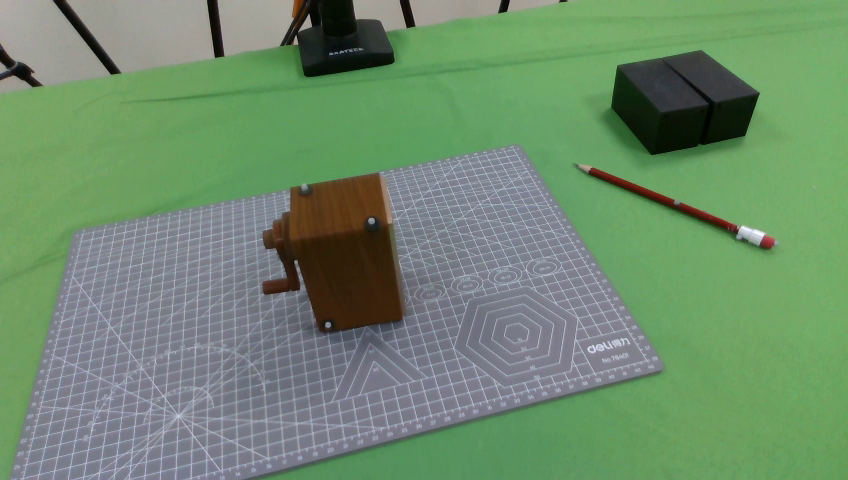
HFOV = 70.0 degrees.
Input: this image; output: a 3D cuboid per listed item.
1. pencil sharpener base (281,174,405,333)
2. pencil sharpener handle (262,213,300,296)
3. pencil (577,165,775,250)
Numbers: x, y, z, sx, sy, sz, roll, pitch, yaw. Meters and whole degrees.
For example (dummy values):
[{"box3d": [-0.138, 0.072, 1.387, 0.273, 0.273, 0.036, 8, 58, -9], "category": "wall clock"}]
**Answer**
[{"box3d": [-0.059, 0.013, 0.458, 0.077, 0.108, 0.060, -9, 44, -4], "category": "pencil sharpener base"}, {"box3d": [-0.110, 0.013, 0.444, 0.031, 0.068, 0.035, -9, 37, -4], "category": "pencil sharpener handle"}, {"box3d": [0.224, -0.035, 0.560, 0.192, 0.012, 0.012, 30, 54, 33], "category": "pencil"}]
